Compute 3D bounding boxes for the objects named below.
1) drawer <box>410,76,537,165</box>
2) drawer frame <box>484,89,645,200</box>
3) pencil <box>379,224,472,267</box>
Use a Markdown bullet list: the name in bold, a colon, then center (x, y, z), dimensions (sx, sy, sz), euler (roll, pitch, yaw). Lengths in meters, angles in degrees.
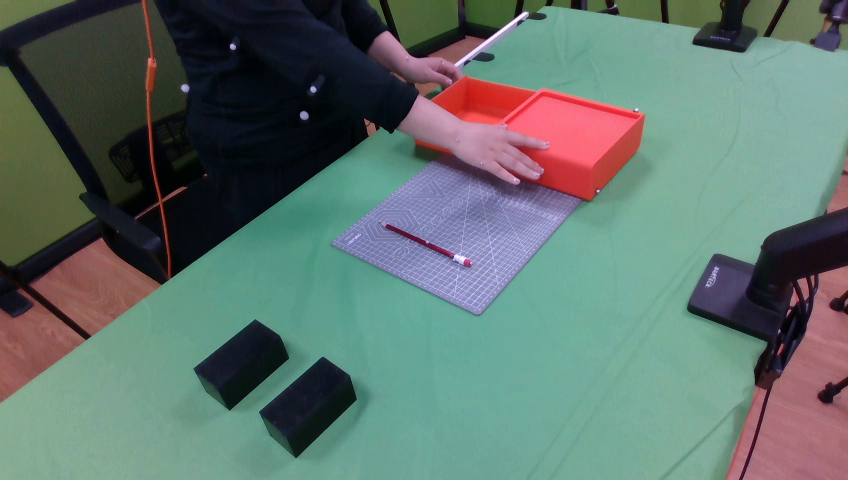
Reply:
- **drawer**: center (0.113, -0.237, 1.191), dimensions (0.210, 0.073, 0.195), euler (22, 48, 33)
- **drawer frame**: center (0.253, -0.180, 1.094), dimensions (0.212, 0.083, 0.202), euler (24, 48, 31)
- **pencil**: center (-0.002, 0.005, 0.970), dimensions (0.192, 0.012, 0.012), euler (24, 49, 33)
